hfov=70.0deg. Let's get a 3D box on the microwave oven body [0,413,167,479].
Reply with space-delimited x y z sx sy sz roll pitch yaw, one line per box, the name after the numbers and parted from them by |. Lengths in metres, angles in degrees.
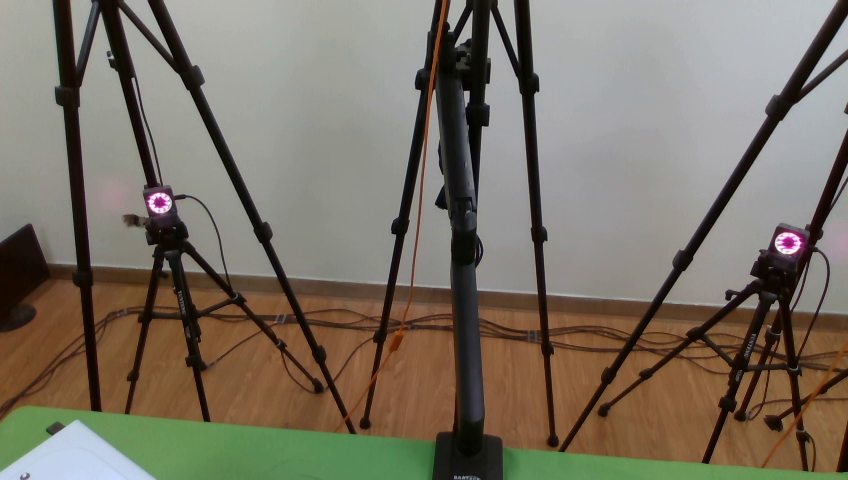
-0.474 0.473 0.676 0.323 0.262 0.441 21 39 26 | microwave oven body
